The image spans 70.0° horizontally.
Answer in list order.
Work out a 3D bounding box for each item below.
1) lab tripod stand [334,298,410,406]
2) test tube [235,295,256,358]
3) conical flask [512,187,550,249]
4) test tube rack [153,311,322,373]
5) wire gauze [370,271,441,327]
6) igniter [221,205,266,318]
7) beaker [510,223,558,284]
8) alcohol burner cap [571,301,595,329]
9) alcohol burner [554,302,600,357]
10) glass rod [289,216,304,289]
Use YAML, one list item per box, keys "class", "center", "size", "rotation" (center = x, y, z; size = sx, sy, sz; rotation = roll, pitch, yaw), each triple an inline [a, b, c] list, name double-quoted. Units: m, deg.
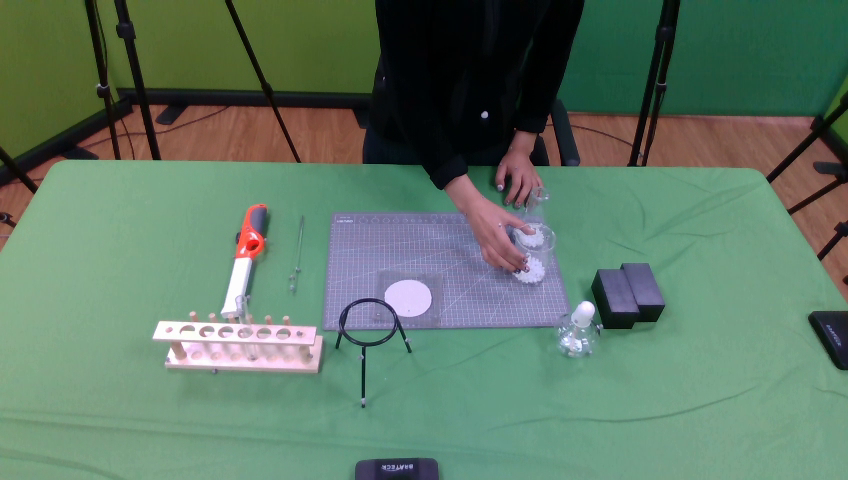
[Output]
- class: "lab tripod stand"
  center: [-0.085, 0.164, 0.957]
  size: [0.148, 0.132, 0.147]
  rotation: [3, 44, -2]
- class: "test tube"
  center: [-0.274, 0.136, 0.933]
  size: [0.017, 0.151, 0.017]
  rotation: [4, 45, -4]
- class: "conical flask"
  center: [0.217, -0.048, 1.190]
  size: [0.075, 0.122, 0.075]
  rotation: [2, 46, -2]
- class: "test tube rack"
  center: [-0.293, 0.160, 0.977]
  size: [0.242, 0.085, 0.066]
  rotation: [3, 46, -2]
- class: "wire gauze"
  center: [-0.032, 0.103, 1.104]
  size: [0.125, 0.011, 0.121]
  rotation: [4, 46, 3]
- class: "igniter"
  center: [-0.337, 0.030, 1.140]
  size: [0.057, 0.025, 0.274]
  rotation: [-5, 46, 4]
- class: "beaker"
  center: [0.198, 0.028, 1.131]
  size: [0.083, 0.101, 0.074]
  rotation: [27, 50, 21]
- class: "alcohol burner cap"
  center: [0.262, 0.120, 0.991]
  size: [0.034, 0.048, 0.033]
  rotation: [2, 52, -2]
- class: "alcohol burner"
  center: [0.261, 0.143, 1.018]
  size: [0.078, 0.119, 0.077]
  rotation: [3, 45, -3]
- class: "glass rod"
  center: [-0.247, 0.019, 1.171]
  size: [0.008, 0.008, 0.198]
  rotation: [0, 43, -3]
